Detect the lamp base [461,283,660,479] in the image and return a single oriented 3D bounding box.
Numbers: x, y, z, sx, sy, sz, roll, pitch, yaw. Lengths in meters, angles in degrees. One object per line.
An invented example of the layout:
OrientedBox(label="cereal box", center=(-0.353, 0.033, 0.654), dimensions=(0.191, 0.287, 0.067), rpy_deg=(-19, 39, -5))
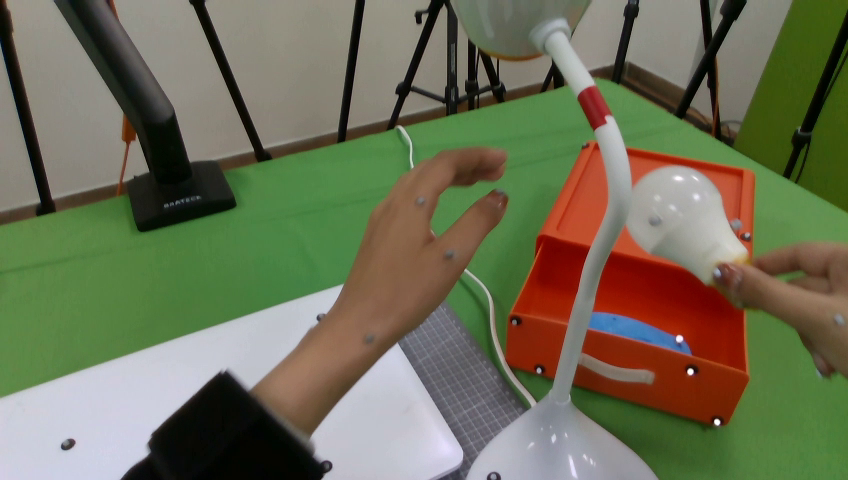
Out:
OrientedBox(label="lamp base", center=(0.102, 0.131, 0.402), dimensions=(0.161, 0.182, 0.177), rpy_deg=(-5, 36, -8))

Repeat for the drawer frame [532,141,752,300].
OrientedBox(label="drawer frame", center=(0.244, -0.014, 0.669), dimensions=(0.200, 0.083, 0.212), rpy_deg=(14, 40, 19))

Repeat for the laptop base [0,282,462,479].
OrientedBox(label="laptop base", center=(-0.175, 0.163, 0.500), dimensions=(0.355, 0.023, 0.233), rpy_deg=(-18, 44, -21))

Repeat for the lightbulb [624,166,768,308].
OrientedBox(label="lightbulb", center=(0.176, -0.001, 0.388), dimensions=(0.059, 0.060, 0.107), rpy_deg=(-26, 66, -28))

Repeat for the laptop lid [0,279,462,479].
OrientedBox(label="laptop lid", center=(-0.174, 0.155, 0.491), dimensions=(0.357, 0.013, 0.239), rpy_deg=(-17, 43, -19))

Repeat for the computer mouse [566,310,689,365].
OrientedBox(label="computer mouse", center=(0.183, 0.099, 0.552), dimensions=(0.117, 0.041, 0.062), rpy_deg=(12, 40, 11))

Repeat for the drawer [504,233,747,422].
OrientedBox(label="drawer", center=(0.201, 0.051, 0.590), dimensions=(0.193, 0.074, 0.211), rpy_deg=(13, 40, 18))

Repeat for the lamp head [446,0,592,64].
OrientedBox(label="lamp head", center=(0.056, -0.158, 0.334), dimensions=(0.112, 0.124, 0.111), rpy_deg=(-3, 53, 4))
